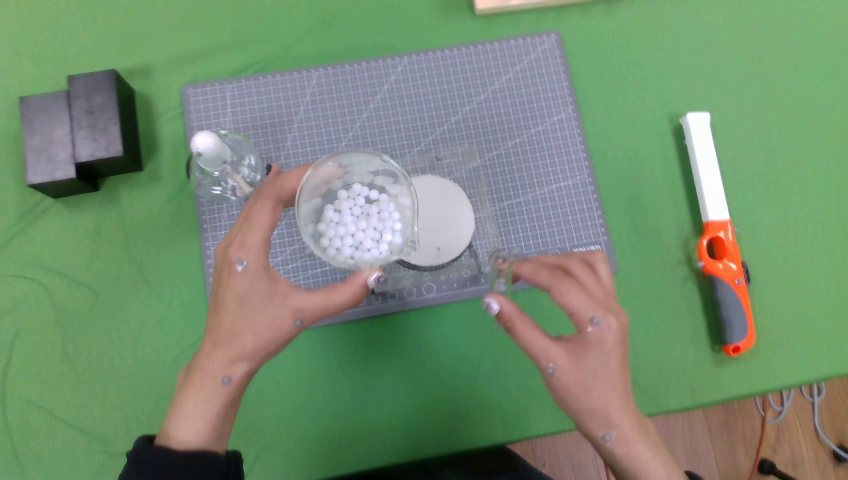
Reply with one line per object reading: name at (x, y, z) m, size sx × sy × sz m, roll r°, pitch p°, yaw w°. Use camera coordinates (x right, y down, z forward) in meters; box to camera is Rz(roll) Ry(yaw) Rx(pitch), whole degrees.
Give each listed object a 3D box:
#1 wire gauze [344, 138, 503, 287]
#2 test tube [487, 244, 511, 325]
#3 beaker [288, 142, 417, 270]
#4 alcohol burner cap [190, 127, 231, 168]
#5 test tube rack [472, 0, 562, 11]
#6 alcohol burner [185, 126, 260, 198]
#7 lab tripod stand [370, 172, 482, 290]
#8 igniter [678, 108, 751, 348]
wire gauze at (-0.001, -0.026, 0.547) m, size 0.125 × 0.011 × 0.121 m, roll -11°, pitch 79°, yaw -5°
test tube at (0.055, 0.038, 0.452) m, size 0.017 × 0.151 × 0.017 m, roll -2°, pitch 67°, yaw 5°
beaker at (-0.044, -0.016, 0.412) m, size 0.084 × 0.100 × 0.074 m, roll 33°, pitch 83°, yaw -1°
alcohol burner cap at (-0.210, -0.092, 0.591) m, size 0.034 × 0.048 × 0.033 m, roll 1°, pitch 80°, yaw -6°
test tube rack at (0.177, -0.336, 0.709) m, size 0.242 × 0.085 × 0.066 m, roll -9°, pitch 80°, yaw -4°
alcohol burner at (-0.212, -0.086, 0.626) m, size 0.078 × 0.119 × 0.077 m, roll 0°, pitch 77°, yaw -2°
lab tripod stand at (-0.005, -0.010, 0.612) m, size 0.148 × 0.132 × 0.147 m, roll 0°, pitch 78°, yaw -1°
igniter at (0.329, -0.018, 0.687) m, size 0.057 × 0.025 × 0.275 m, roll -4°, pitch 80°, yaw -13°
